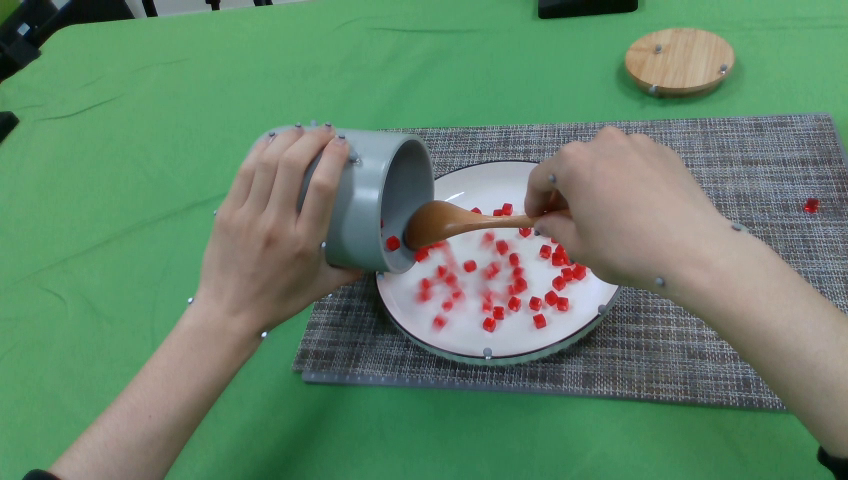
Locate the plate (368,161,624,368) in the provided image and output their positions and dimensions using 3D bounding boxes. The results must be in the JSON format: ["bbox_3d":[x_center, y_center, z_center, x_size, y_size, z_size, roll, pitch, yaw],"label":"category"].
[{"bbox_3d":[0.058,0.018,0.507,0.207,0.039,0.205,-7,49,8],"label":"plate"}]

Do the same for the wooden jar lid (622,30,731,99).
[{"bbox_3d":[0.267,-0.186,0.645,0.108,0.021,0.107,-7,50,8],"label":"wooden jar lid"}]

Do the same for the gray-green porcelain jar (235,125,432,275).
[{"bbox_3d":[-0.070,-0.033,0.469,0.126,0.107,0.105,8,53,20],"label":"gray-green porcelain jar"}]

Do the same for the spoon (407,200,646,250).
[{"bbox_3d":[0.061,-0.015,0.431,0.192,0.022,0.041,-3,65,35],"label":"spoon"}]
